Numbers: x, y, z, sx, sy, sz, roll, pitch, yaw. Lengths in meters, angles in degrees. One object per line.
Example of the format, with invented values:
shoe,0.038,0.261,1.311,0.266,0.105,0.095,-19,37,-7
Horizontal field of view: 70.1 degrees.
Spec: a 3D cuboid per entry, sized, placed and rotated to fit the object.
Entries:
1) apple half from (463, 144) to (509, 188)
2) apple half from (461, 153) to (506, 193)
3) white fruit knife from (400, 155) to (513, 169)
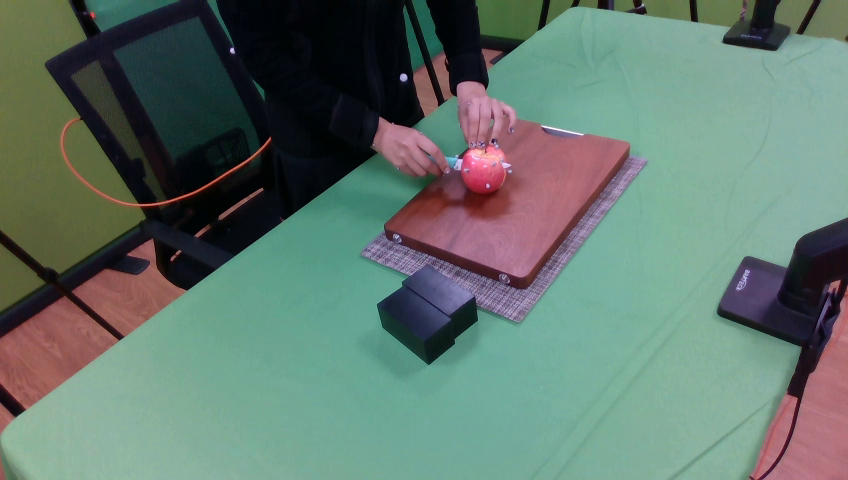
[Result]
apple half,0.109,-0.129,1.031,0.080,0.075,0.053,5,37,21
apple half,0.094,-0.104,1.003,0.081,0.081,0.033,8,42,19
white fruit knife,0.052,-0.131,1.022,0.206,0.027,0.016,5,42,23
